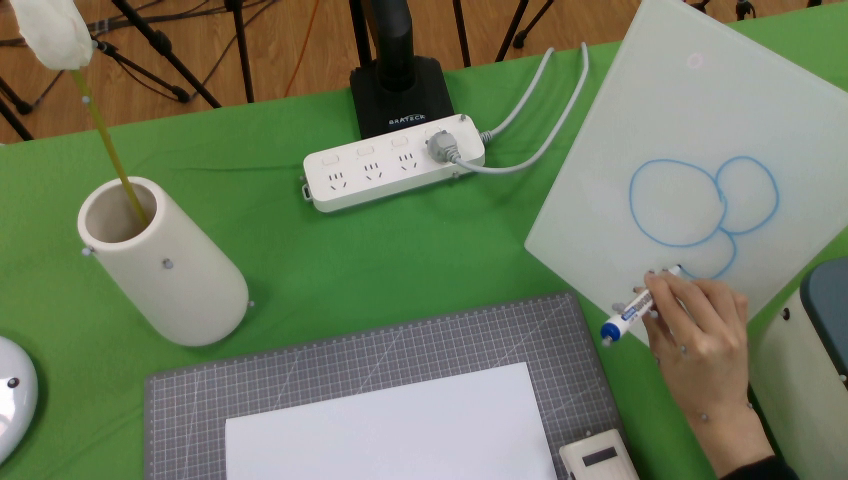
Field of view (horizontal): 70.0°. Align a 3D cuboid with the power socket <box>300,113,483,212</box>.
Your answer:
[{"bbox_3d":[-0.036,-0.092,0.714,0.227,0.033,0.071,-16,63,-8],"label":"power socket"}]

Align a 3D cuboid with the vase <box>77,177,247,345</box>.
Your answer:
[{"bbox_3d":[-0.236,0.025,0.560,0.098,0.201,0.097,-1,61,2],"label":"vase"}]

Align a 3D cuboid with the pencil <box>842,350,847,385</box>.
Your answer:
[{"bbox_3d":[0.404,0.196,0.558,0.012,0.012,0.192,7,65,6],"label":"pencil"}]

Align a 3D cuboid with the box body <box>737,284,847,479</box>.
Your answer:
[{"bbox_3d":[0.457,0.189,0.480,0.254,0.161,0.360,-12,62,-5],"label":"box body"}]

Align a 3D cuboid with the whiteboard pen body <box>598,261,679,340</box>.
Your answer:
[{"bbox_3d":[0.183,0.045,0.504,0.017,0.017,0.141,42,45,21],"label":"whiteboard pen body"}]

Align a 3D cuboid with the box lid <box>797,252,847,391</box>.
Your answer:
[{"bbox_3d":[0.455,0.151,0.415,0.263,0.015,0.368,-12,63,-5],"label":"box lid"}]

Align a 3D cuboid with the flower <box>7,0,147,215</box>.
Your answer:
[{"bbox_3d":[-0.235,-0.031,0.497,0.038,0.365,0.043,-22,45,-18],"label":"flower"}]

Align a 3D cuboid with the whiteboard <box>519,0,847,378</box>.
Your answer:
[{"bbox_3d":[0.260,-0.057,0.570,0.215,0.307,0.144,41,51,21],"label":"whiteboard"}]

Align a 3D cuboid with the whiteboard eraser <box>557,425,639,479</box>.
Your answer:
[{"bbox_3d":[0.164,0.225,0.531,0.056,0.042,0.111,-16,62,-9],"label":"whiteboard eraser"}]

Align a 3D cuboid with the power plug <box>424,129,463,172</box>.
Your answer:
[{"bbox_3d":[0.021,-0.094,0.687,0.035,0.053,0.072,-7,63,-2],"label":"power plug"}]

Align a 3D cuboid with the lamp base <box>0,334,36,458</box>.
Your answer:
[{"bbox_3d":[-0.474,0.122,0.523,0.178,0.182,0.160,18,63,14],"label":"lamp base"}]
